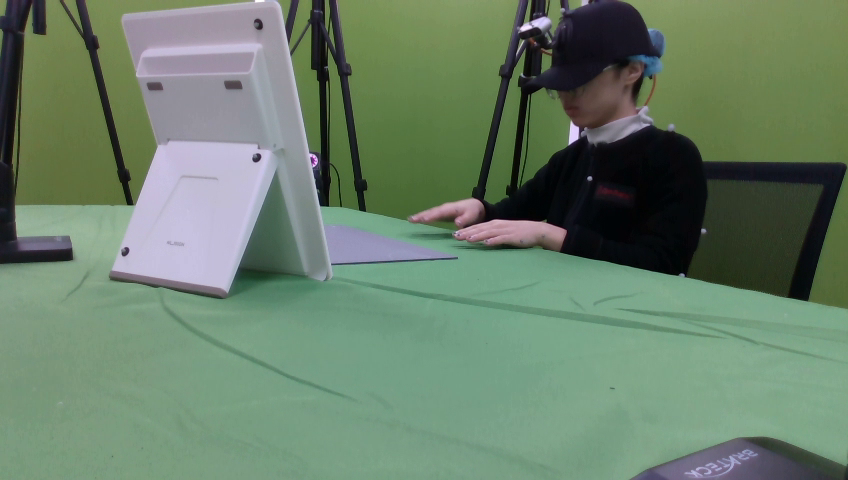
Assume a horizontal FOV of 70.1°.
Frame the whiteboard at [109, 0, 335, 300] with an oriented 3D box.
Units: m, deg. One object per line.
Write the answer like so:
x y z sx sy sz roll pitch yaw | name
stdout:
-0.247 -0.072 0.624 0.216 0.305 0.144 6 28 26 | whiteboard

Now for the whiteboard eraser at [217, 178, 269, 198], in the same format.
-0.389 -0.113 1.304 0.055 0.042 0.113 4 7 20 | whiteboard eraser
